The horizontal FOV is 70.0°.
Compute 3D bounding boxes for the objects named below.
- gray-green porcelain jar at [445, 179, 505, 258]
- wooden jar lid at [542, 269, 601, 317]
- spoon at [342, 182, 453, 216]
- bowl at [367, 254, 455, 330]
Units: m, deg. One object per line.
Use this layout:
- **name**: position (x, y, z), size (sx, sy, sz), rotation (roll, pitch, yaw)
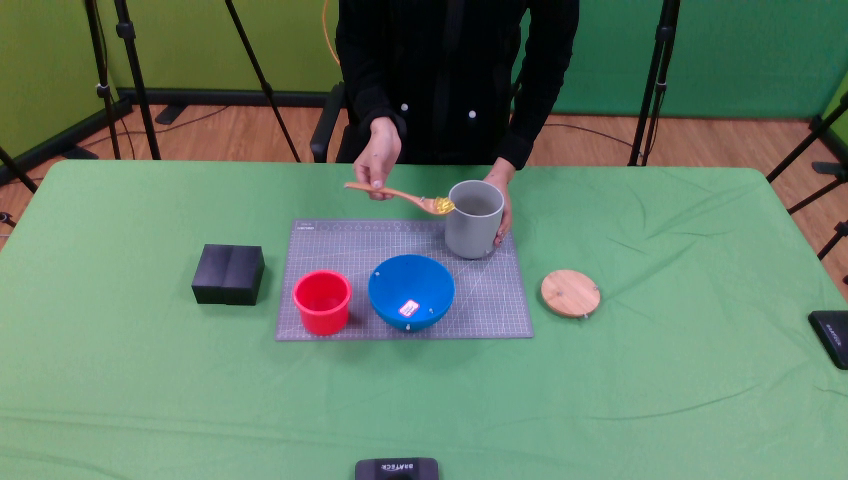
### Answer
- **gray-green porcelain jar**: position (0.095, -0.036, 1.161), size (0.106, 0.127, 0.105), rotation (2, 46, -2)
- **wooden jar lid**: position (0.272, 0.100, 1.121), size (0.108, 0.021, 0.107), rotation (3, 47, -2)
- **spoon**: position (-0.045, -0.075, 1.037), size (0.194, 0.022, 0.041), rotation (16, 43, -4)
- **bowl**: position (-0.023, 0.104, 1.053), size (0.151, 0.077, 0.150), rotation (2, 46, -2)
